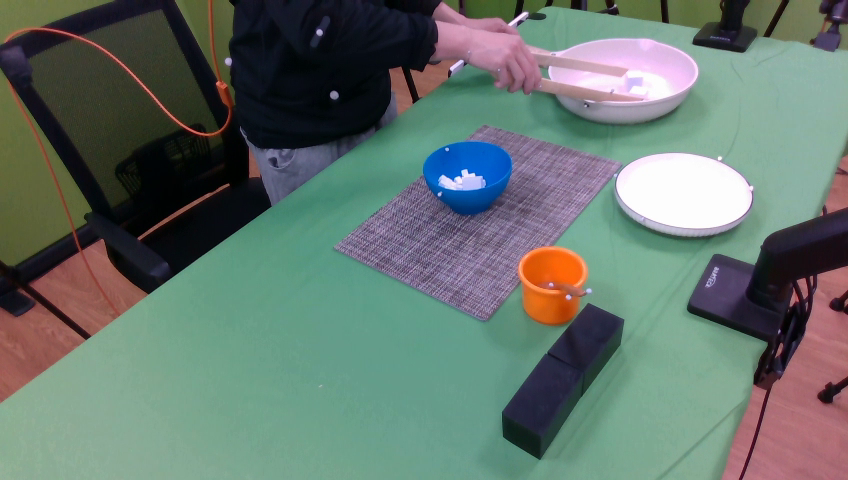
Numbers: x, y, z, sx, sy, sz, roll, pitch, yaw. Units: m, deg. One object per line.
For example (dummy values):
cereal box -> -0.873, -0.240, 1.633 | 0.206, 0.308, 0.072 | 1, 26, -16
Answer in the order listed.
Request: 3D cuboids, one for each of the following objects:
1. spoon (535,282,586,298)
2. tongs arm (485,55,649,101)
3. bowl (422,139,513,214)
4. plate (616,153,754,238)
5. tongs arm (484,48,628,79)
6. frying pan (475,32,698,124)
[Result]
spoon -> 0.176, 0.063, 0.774 | 0.041, 0.194, 0.021 | -3, 85, 1
tongs arm -> 0.276, -0.285, 1.109 | 0.388, 0.026, 0.050 | -2, 57, -34
bowl -> 0.075, -0.098, 1.021 | 0.151, 0.077, 0.150 | -4, 41, 4
plate -> 0.416, -0.069, 0.977 | 0.207, 0.039, 0.206 | -4, 40, 4
tongs arm -> 0.258, -0.326, 1.133 | 0.391, 0.027, 0.028 | -5, 62, -36
frying pan -> 0.320, -0.371, 1.290 | 0.485, 0.103, 0.307 | 28, 50, 23
